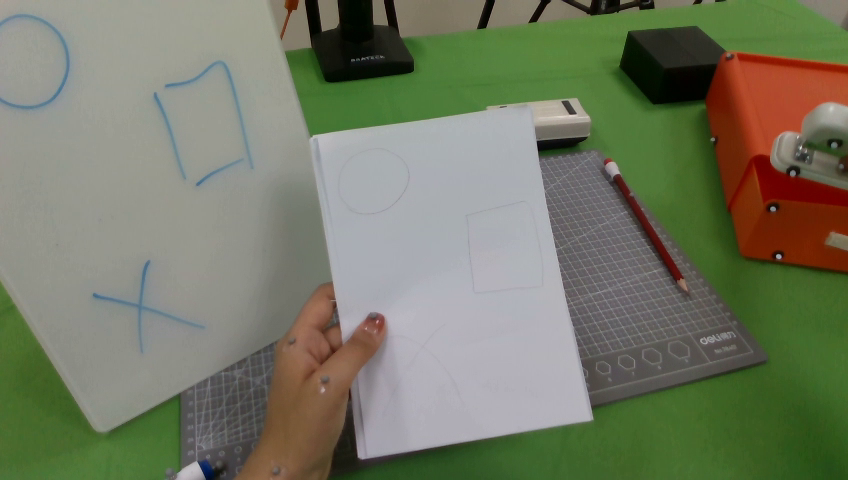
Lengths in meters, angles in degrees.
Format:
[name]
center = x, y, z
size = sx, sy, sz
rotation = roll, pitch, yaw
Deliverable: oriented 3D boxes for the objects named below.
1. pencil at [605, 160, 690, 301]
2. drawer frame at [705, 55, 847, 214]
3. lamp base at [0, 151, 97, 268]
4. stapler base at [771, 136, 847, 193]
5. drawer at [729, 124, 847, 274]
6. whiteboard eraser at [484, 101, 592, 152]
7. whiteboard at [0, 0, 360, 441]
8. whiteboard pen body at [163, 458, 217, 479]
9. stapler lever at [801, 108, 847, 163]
[pencil]
center = 0.217, -0.016, 0.594
size = 0.012, 0.012, 0.192
rotation = -6, 47, -8
[drawer frame]
center = 0.421, -0.104, 0.643
size = 0.201, 0.083, 0.212
rotation = 8, 44, 8
[lamp base]
center = -0.409, -0.089, 0.528
size = 0.178, 0.182, 0.160
rotation = 18, 46, 19
[stapler base]
center = 0.359, -0.059, 0.496
size = 0.130, 0.024, 0.041
rotation = 19, 69, 13
[drawer]
center = 0.408, -0.059, 0.600
size = 0.194, 0.074, 0.210
rotation = 8, 44, 8
[whiteboard eraser]
center = 0.129, -0.128, 0.688
size = 0.113, 0.042, 0.055
rotation = -6, 45, -8
[whiteboard]
center = -0.207, -0.054, 0.452
size = 0.217, 0.308, 0.142
rotation = -27, 32, -25
[whiteboard pen body]
center = -0.198, 0.177, 0.374
size = 0.141, 0.017, 0.017
rotation = -25, 50, -27
[stapler lever]
center = 0.358, -0.071, 0.472
size = 0.117, 0.040, 0.026
rotation = 19, 69, 12
